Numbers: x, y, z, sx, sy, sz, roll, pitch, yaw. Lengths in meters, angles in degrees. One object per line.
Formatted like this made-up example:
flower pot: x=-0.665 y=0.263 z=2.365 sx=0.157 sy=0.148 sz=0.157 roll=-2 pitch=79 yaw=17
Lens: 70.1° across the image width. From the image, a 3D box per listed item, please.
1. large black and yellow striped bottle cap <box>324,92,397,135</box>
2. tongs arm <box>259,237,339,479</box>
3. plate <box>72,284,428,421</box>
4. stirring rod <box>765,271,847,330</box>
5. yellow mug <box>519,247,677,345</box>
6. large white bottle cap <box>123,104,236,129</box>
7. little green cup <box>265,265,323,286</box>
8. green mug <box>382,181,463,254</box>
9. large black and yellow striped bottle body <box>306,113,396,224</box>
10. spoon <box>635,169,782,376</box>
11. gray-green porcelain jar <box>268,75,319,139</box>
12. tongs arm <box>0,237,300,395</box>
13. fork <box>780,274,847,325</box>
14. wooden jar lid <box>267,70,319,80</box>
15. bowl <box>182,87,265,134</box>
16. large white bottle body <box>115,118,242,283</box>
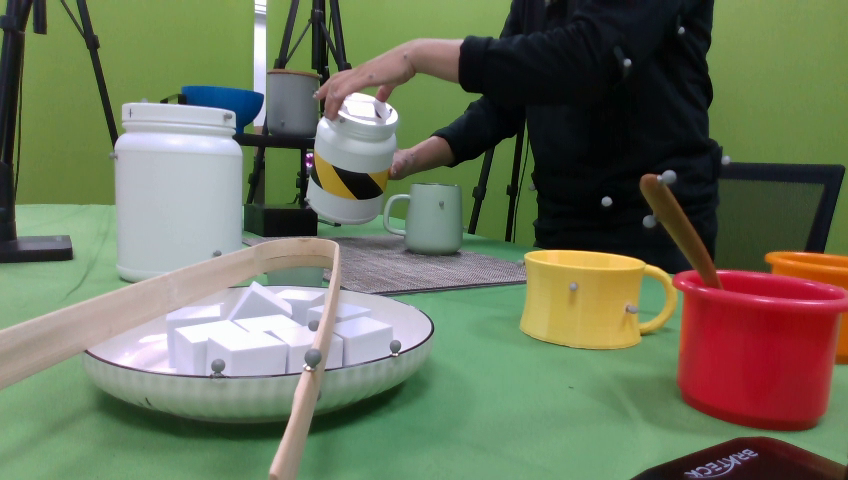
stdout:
large black and yellow striped bottle cap: x=-0.099 y=-0.201 z=0.956 sx=0.115 sy=0.019 sz=0.115 roll=11 pitch=34 yaw=-7
tongs arm: x=-0.074 y=0.040 z=0.345 sx=0.051 sy=0.026 sz=0.384 roll=-2 pitch=9 yaw=-3
plate: x=-0.102 y=0.067 z=0.381 sx=0.208 sy=0.039 sz=0.207 roll=3 pitch=7 yaw=0
stirring rod: x=0.352 y=0.020 z=0.481 sx=0.176 sy=0.006 sz=0.014 roll=-40 pitch=-7 yaw=17
yellow mug: x=0.148 y=0.045 z=0.513 sx=0.131 sy=0.064 sz=0.100 roll=3 pitch=7 yaw=0
large white bottle cap: x=-0.266 y=-0.135 z=0.663 sx=0.115 sy=0.018 sz=0.115 roll=3 pitch=7 yaw=0
little green cup: x=-0.134 y=0.034 z=0.628 sx=0.061 sy=0.038 sz=0.061 roll=3 pitch=6 yaw=0
green mug: x=-0.001 y=-0.036 z=0.922 sx=0.126 sy=0.105 sz=0.092 roll=0 pitch=8 yaw=-16
large black and yellow striped bottle body: x=-0.120 y=-0.133 z=1.002 sx=0.131 sy=0.184 sz=0.130 roll=12 pitch=33 yaw=-8
spoon: x=0.161 y=0.026 z=0.346 sx=0.041 sy=0.194 sz=0.021 roll=10 pitch=56 yaw=53
gray-green porcelain jar: x=-0.277 y=-0.279 z=1.280 sx=0.106 sy=0.126 sz=0.106 roll=2 pitch=8 yaw=0
tongs arm: x=-0.158 y=0.039 z=0.346 sx=0.028 sy=0.028 sz=0.388 roll=-3 pitch=8 yaw=11
fork: x=0.332 y=0.018 z=0.443 sx=0.028 sy=0.018 sz=0.207 roll=-3 pitch=-35 yaw=-16
wooden jar lid: x=-0.275 y=-0.340 z=1.271 sx=0.108 sy=0.020 sz=0.108 roll=5 pitch=6 yaw=0
bowl: x=-0.383 y=-0.244 z=1.158 sx=0.151 sy=0.077 sz=0.151 roll=2 pitch=7 yaw=0
large white bottle body: x=-0.270 y=-0.051 z=0.673 sx=0.131 sy=0.184 sz=0.130 roll=2 pitch=8 yaw=0
